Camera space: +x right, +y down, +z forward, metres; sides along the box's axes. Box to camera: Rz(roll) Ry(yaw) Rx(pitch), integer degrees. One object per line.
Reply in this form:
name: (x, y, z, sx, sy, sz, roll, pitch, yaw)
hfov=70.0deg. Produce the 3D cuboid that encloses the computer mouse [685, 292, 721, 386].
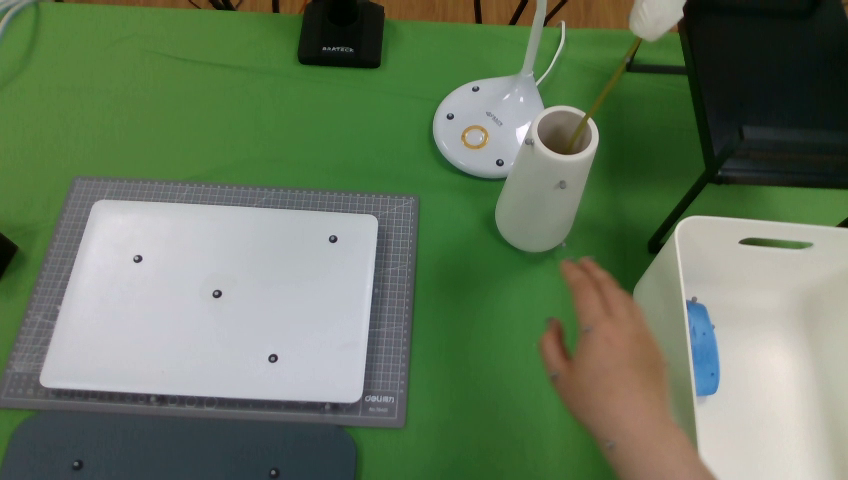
computer mouse: (0.303, 0.111, 0.700, 0.063, 0.041, 0.116, 3, 57, 3)

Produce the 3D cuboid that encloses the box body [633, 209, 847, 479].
box body: (0.363, 0.171, 0.611, 0.254, 0.161, 0.361, 4, 64, 1)

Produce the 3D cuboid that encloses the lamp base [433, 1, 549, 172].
lamp base: (0.101, -0.206, 0.771, 0.160, 0.181, 0.179, 34, 65, 14)

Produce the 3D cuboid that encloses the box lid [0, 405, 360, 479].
box lid: (-0.259, 0.305, 0.609, 0.372, 0.015, 0.261, 3, 65, -1)

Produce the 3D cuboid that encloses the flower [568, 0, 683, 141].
flower: (0.157, -0.115, 0.628, 0.038, 0.364, 0.043, -2, 53, -22)

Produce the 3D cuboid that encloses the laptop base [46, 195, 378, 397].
laptop base: (-0.237, 0.062, 0.719, 0.354, 0.023, 0.234, 3, 68, -1)

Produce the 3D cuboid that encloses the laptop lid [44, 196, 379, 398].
laptop lid: (-0.237, 0.059, 0.707, 0.357, 0.013, 0.240, 4, 67, 0)

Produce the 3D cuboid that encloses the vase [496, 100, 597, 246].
vase: (0.139, -0.072, 0.698, 0.098, 0.201, 0.097, 0, 63, 0)
